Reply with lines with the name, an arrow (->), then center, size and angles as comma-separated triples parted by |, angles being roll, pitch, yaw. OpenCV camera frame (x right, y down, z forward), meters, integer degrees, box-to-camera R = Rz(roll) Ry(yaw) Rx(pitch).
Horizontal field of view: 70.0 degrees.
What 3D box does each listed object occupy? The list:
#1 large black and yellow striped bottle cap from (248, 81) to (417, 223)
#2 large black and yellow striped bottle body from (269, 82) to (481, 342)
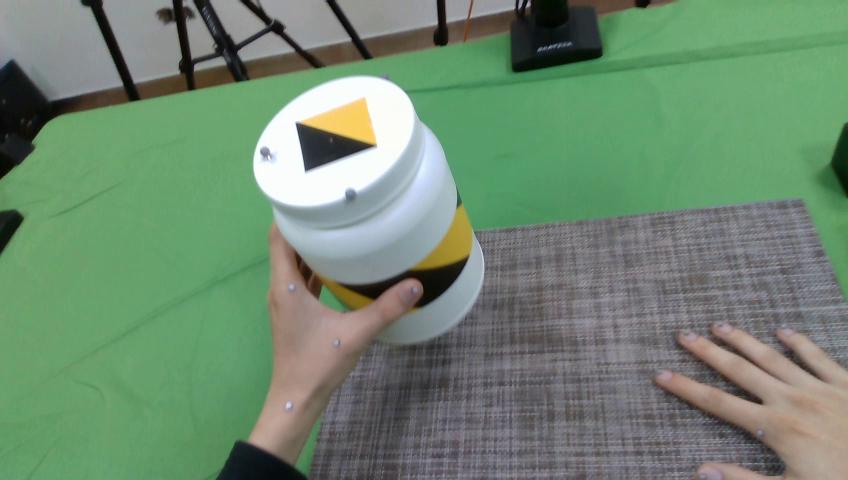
large black and yellow striped bottle cap -> -0.061, -0.061, 0.401 | 0.115, 0.019, 0.114 | -9, 53, 12
large black and yellow striped bottle body -> -0.037, -0.016, 0.467 | 0.130, 0.186, 0.129 | -9, 54, 13
